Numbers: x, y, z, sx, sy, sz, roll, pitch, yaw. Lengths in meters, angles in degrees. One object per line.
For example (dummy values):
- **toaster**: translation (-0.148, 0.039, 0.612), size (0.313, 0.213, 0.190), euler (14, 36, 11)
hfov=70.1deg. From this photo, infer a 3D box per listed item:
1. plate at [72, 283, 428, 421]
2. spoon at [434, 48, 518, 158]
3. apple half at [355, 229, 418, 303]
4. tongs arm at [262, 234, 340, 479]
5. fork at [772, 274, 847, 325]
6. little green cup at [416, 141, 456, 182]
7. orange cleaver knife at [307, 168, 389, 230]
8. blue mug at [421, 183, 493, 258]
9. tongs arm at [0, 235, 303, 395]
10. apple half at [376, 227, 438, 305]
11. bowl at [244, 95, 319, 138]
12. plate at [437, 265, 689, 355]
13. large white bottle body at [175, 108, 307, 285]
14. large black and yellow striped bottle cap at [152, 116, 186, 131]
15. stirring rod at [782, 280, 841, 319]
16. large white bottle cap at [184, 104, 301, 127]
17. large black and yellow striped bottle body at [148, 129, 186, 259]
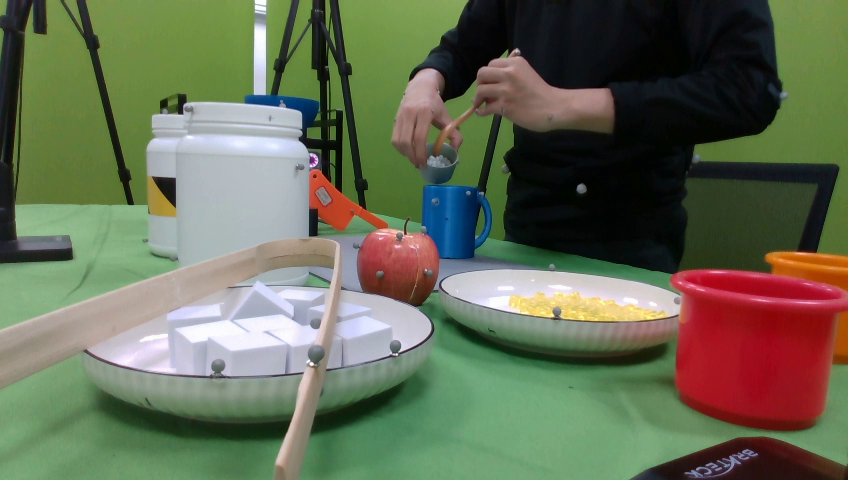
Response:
- **plate**: translation (-0.102, 0.066, 0.381), size (0.208, 0.039, 0.207), euler (2, 7, 0)
- **spoon**: translation (0.074, -0.198, 0.885), size (0.022, 0.193, 0.041), euler (40, 17, -9)
- **apple half**: translation (-0.043, 0.027, 0.564), size (0.081, 0.081, 0.033), euler (9, 5, 42)
- **tongs arm**: translation (-0.074, 0.039, 0.349), size (0.051, 0.026, 0.384), euler (-2, 10, -3)
- **fork**: translation (0.332, 0.018, 0.443), size (0.028, 0.018, 0.207), euler (-1, -36, -15)
- **little green cup**: translation (0.017, -0.121, 0.937), size (0.061, 0.038, 0.061), euler (3, 48, -3)
- **orange cleaver knife**: translation (-0.158, -0.060, 1.166), size (0.212, 0.077, 0.012), euler (34, -12, -32)
- **blue mug**: translation (0.052, -0.032, 0.912), size (0.117, 0.106, 0.082), euler (-1, 8, -24)
- **tongs arm**: translation (-0.157, 0.038, 0.351), size (0.028, 0.028, 0.388), euler (-3, 9, 12)
- **apple half**: translation (-0.017, 0.026, 0.593), size (0.080, 0.074, 0.053), euler (4, 2, 43)
- **bowl**: translation (-0.293, -0.251, 1.249), size (0.151, 0.077, 0.151), euler (2, 7, 0)
- **plate**: translation (0.114, 0.057, 0.517), size (0.209, 0.038, 0.209), euler (3, 7, 0)
- **large white bottle body**: translation (-0.188, -0.042, 0.630), size (0.131, 0.184, 0.130), euler (2, 8, 0)
- **large black and yellow striped bottle cap**: translation (-0.309, -0.155, 0.826), size (0.115, 0.019, 0.115), euler (3, 6, 0)
- **stirring rod**: translation (0.344, 0.019, 0.461), size (0.014, 0.006, 0.176), euler (-13, -27, -30)
- **large white bottle cap**: translation (-0.184, -0.126, 0.618), size (0.115, 0.018, 0.115), euler (2, 8, 0)
- **large black and yellow striped bottle body**: translation (-0.310, -0.073, 0.838), size (0.131, 0.184, 0.130), euler (2, 8, 0)
